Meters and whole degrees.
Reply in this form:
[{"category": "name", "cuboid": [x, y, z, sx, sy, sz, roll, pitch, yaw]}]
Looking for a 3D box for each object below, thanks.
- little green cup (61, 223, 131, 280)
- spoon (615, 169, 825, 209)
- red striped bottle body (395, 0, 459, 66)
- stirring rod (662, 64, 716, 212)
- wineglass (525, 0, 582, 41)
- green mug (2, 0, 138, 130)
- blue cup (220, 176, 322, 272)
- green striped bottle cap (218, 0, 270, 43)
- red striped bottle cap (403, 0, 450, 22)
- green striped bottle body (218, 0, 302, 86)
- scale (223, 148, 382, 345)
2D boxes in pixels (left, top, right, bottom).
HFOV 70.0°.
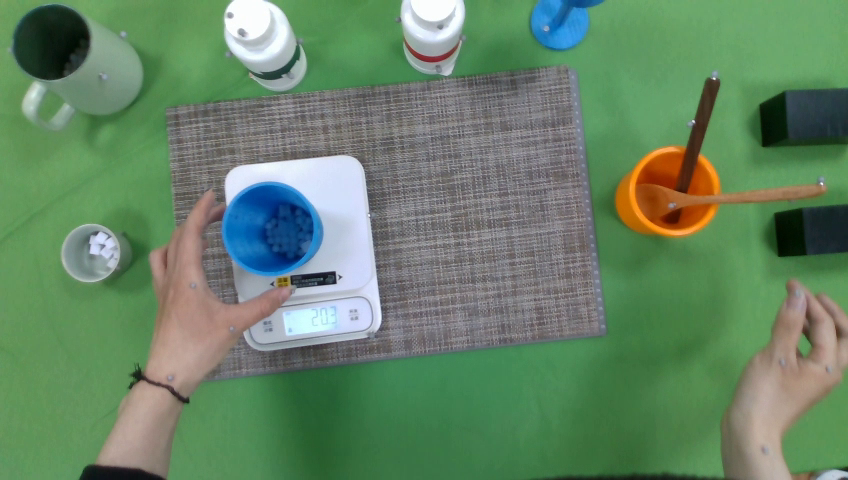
[{"category": "little green cup", "cuboid": [-0.347, 0.012, 0.647, 0.061, 0.038, 0.061, 0, 89, -3]}, {"category": "spoon", "cuboid": [0.284, -0.053, 0.602, 0.022, 0.192, 0.042, -26, 108, -42]}, {"category": "red striped bottle body", "cuboid": [0.002, -0.227, 0.619, 0.063, 0.120, 0.063, 0, 88, -1]}, {"category": "stirring rod", "cuboid": [0.261, -0.094, 0.603, 0.014, 0.178, 0.006, 8, 47, 14]}, {"category": "wineglass", "cuboid": [0.145, -0.260, 0.595, 0.074, 0.172, 0.073, 0, 87, 0]}, {"category": "green mug", "cuboid": [-0.365, -0.171, 0.620, 0.092, 0.105, 0.125, 28, 88, 0]}, {"category": "blue cup", "cuboid": [-0.138, -0.014, 0.586, 0.092, 0.100, 0.092, 0, 90, 0]}, {"category": "green striped bottle cap", "cuboid": [-0.166, -0.207, 0.560, 0.044, 0.020, 0.044, 0, 88, 1]}, {"category": "red striped bottle cap", "cuboid": [0.003, -0.229, 0.565, 0.044, 0.018, 0.044, 0, 85, 0]}, {"category": "green striped bottle body", "cuboid": [-0.167, -0.204, 0.616, 0.063, 0.119, 0.063, 0, 88, 0]}, {"category": "scale", "cuboid": [-0.130, 0.007, 0.650, 0.149, 0.031, 0.200, -8, 89, -1]}]
